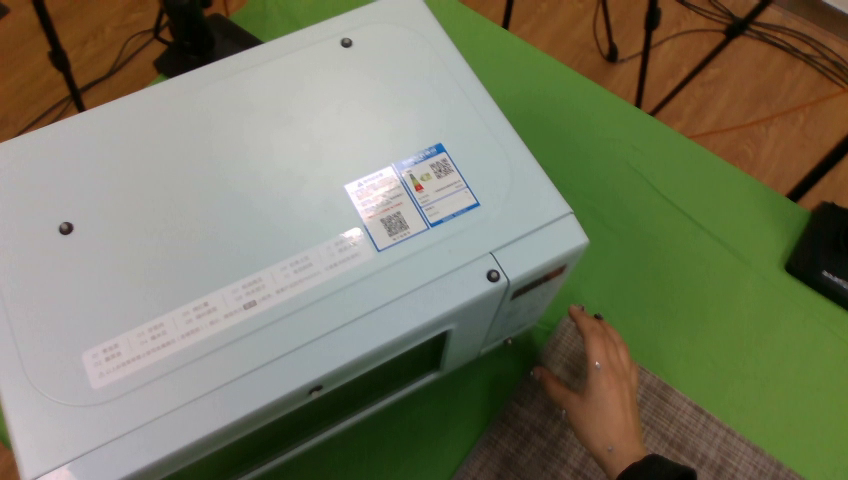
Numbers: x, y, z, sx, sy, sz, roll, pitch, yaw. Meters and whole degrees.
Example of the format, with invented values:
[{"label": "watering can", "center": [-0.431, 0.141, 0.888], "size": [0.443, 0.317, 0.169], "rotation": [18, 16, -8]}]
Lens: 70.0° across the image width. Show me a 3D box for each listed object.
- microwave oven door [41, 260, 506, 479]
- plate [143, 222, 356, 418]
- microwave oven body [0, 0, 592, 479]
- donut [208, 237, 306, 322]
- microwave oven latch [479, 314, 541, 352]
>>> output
[{"label": "microwave oven door", "center": [-0.102, 0.142, 0.531], "size": [0.356, 0.245, 0.039], "rotation": [-26, 69, -13]}, {"label": "plate", "center": [-0.170, 0.078, 0.609], "size": [0.209, 0.038, 0.207], "rotation": [-1, 60, 2]}, {"label": "microwave oven body", "center": [-0.134, 0.008, 0.595], "size": [0.442, 0.262, 0.323], "rotation": [-26, 70, -12]}, {"label": "donut", "center": [-0.172, 0.041, 0.629], "size": [0.099, 0.048, 0.098], "rotation": [7, 53, -9]}, {"label": "microwave oven latch", "center": [0.090, 0.094, 0.673], "size": [0.079, 0.030, 0.030], "rotation": [-25, 70, -12]}]
